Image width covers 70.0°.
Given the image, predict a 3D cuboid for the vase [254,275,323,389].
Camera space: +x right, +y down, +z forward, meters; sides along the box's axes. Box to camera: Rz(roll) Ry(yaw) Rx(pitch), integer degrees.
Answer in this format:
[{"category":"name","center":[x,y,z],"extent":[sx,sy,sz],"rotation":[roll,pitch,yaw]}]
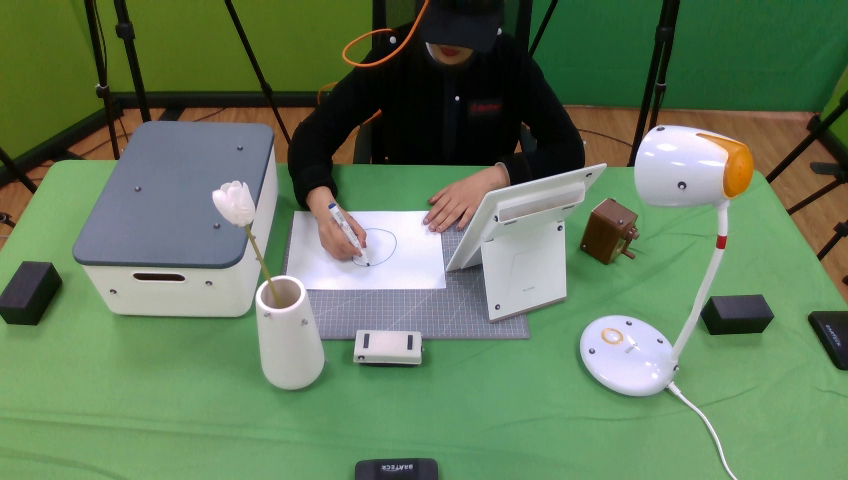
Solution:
[{"category":"vase","center":[-0.209,0.143,0.921],"extent":[0.098,0.201,0.097],"rotation":[1,46,-1]}]

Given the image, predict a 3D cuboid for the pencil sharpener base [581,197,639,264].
[{"category":"pencil sharpener base","center":[0.362,-0.017,1.179],"extent":[0.076,0.107,0.061],"rotation":[37,54,27]}]

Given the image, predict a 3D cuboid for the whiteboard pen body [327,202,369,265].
[{"category":"whiteboard pen body","center":[-0.139,-0.009,1.128],"extent":[0.017,0.141,0.017],"rotation":[-26,20,10]}]

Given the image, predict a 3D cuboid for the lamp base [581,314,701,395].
[{"category":"lamp base","center":[0.361,0.144,0.973],"extent":[0.178,0.181,0.160],"rotation":[34,53,23]}]

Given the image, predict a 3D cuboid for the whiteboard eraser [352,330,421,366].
[{"category":"whiteboard eraser","center":[-0.061,0.180,1.006],"extent":[0.113,0.042,0.055],"rotation":[3,48,-2]}]

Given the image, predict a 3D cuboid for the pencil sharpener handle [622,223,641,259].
[{"category":"pencil sharpener handle","center":[0.397,0.003,1.146],"extent":[0.030,0.068,0.036],"rotation":[37,46,27]}]

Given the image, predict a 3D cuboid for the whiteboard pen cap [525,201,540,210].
[{"category":"whiteboard pen cap","center":[0.230,-0.074,1.289],"extent":[0.033,0.018,0.018],"rotation":[5,46,4]}]

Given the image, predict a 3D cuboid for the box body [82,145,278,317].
[{"category":"box body","center":[-0.421,-0.041,1.108],"extent":[0.254,0.161,0.361],"rotation":[2,46,-3]}]

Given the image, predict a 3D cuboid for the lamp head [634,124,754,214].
[{"category":"lamp head","center":[0.351,-0.089,0.776],"extent":[0.112,0.113,0.122],"rotation":[-30,30,-28]}]

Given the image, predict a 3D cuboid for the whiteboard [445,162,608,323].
[{"category":"whiteboard","center":[0.186,0.025,1.029],"extent":[0.217,0.306,0.143],"rotation":[-14,68,-17]}]

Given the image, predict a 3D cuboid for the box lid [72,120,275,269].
[{"category":"box lid","center":[-0.417,-0.094,1.056],"extent":[0.263,0.015,0.369],"rotation":[2,47,-3]}]

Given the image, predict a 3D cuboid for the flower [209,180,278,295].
[{"category":"flower","center":[-0.216,0.075,0.871],"extent":[0.044,0.363,0.038],"rotation":[-29,36,-20]}]
